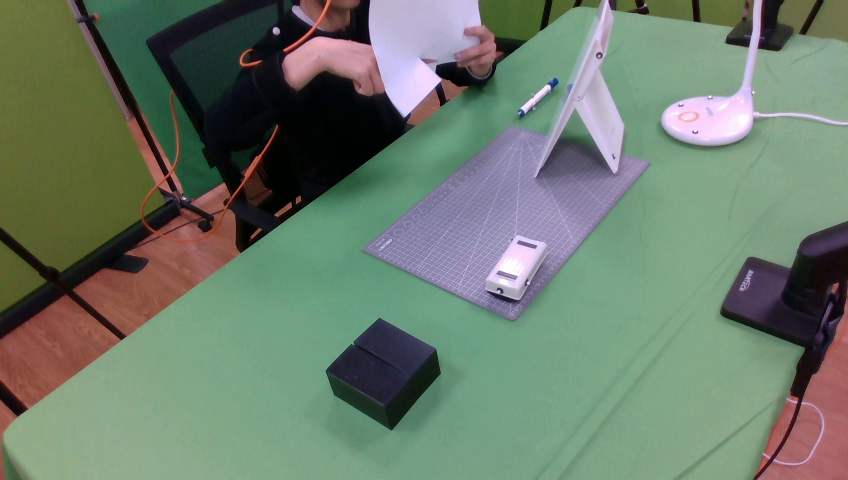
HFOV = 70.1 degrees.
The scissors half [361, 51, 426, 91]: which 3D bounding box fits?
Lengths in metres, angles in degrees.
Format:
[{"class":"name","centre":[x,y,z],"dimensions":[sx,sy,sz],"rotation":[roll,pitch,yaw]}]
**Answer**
[{"class":"scissors half","centre":[-0.047,-0.300,1.055],"dimensions":[0.012,0.040,0.175],"rotation":[-18,20,47]}]

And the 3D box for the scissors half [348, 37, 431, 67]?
[{"class":"scissors half","centre":[-0.056,-0.322,1.055],"dimensions":[0.177,0.012,0.040],"rotation":[3,72,-39]}]

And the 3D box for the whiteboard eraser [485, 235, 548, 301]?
[{"class":"whiteboard eraser","centre":[0.137,0.042,0.887],"dimensions":[0.055,0.042,0.113],"rotation":[15,45,27]}]

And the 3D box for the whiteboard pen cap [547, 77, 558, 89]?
[{"class":"whiteboard pen cap","centre":[0.279,-0.341,1.321],"dimensions":[0.018,0.018,0.033],"rotation":[22,51,31]}]

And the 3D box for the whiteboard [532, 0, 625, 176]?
[{"class":"whiteboard","centre":[0.320,-0.259,1.050],"dimensions":[0.144,0.306,0.217],"rotation":[21,45,5]}]

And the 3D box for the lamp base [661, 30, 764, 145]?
[{"class":"lamp base","centre":[0.535,-0.287,1.096],"dimensions":[0.179,0.181,0.159],"rotation":[-10,40,-4]}]

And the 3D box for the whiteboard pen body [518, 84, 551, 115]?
[{"class":"whiteboard pen body","centre":[0.242,-0.306,1.290],"dimensions":[0.017,0.017,0.141],"rotation":[24,52,33]}]
